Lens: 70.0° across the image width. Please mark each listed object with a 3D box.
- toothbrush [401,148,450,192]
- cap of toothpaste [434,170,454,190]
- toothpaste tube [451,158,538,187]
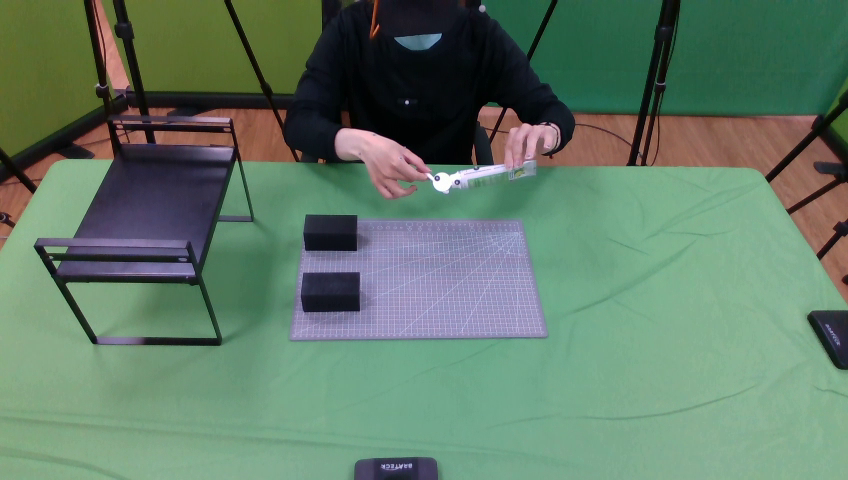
[{"bbox_3d":[0.001,-0.141,1.184,0.014,0.017,0.180,-21,42,-22],"label":"toothbrush"},{"bbox_3d":[0.036,-0.108,1.100,0.037,0.037,0.011,-5,4,-9],"label":"cap of toothpaste"},{"bbox_3d":[0.125,-0.124,1.111,0.165,0.055,0.034,-9,71,5],"label":"toothpaste tube"}]
